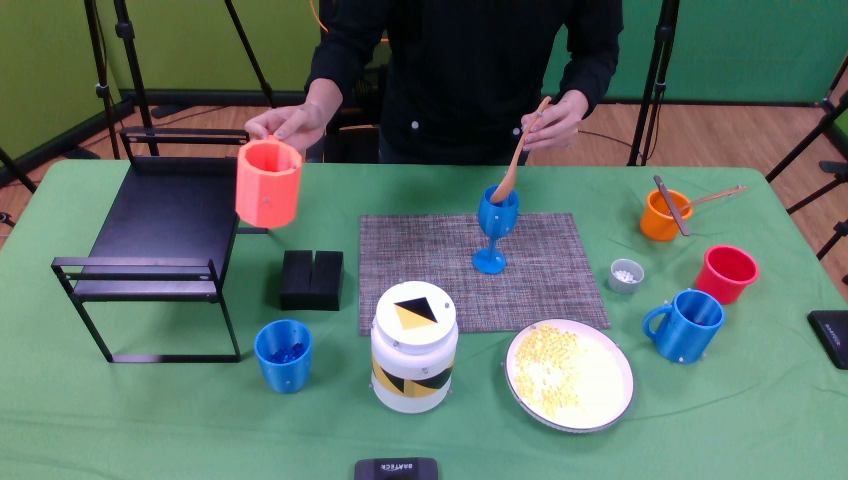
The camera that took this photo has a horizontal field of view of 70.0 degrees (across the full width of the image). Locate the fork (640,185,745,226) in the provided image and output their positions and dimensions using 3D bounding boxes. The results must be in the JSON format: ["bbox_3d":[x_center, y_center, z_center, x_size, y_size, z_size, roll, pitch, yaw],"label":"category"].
[{"bbox_3d":[0.534,-0.069,1.215,0.207,0.019,0.028,-26,27,33],"label":"fork"}]

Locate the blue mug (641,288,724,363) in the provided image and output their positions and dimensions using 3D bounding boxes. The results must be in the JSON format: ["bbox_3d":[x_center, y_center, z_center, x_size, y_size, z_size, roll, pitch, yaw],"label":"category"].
[{"bbox_3d":[0.432,0.144,1.033,0.116,0.106,0.082,8,46,5],"label":"blue mug"}]

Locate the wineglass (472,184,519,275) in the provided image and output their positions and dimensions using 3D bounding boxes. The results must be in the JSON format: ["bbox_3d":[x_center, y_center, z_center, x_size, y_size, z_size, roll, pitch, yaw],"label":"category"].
[{"bbox_3d":[0.129,-0.018,1.113,0.074,0.173,0.073,2,46,-2],"label":"wineglass"}]

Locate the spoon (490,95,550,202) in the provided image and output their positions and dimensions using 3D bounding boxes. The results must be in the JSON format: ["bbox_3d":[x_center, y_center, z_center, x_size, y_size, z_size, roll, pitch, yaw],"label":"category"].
[{"bbox_3d":[0.157,-0.147,0.991,0.021,0.194,0.042,33,19,36],"label":"spoon"}]

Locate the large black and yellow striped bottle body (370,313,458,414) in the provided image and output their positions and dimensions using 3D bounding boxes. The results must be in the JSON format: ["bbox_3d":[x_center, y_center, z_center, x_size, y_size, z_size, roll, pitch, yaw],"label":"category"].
[{"bbox_3d":[-0.017,0.165,0.924,0.131,0.185,0.130,2,46,-2],"label":"large black and yellow striped bottle body"}]

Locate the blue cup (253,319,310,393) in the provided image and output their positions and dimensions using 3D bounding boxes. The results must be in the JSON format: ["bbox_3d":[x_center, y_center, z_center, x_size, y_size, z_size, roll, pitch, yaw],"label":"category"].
[{"bbox_3d":[-0.217,0.187,0.943,0.093,0.101,0.092,4,45,-3],"label":"blue cup"}]

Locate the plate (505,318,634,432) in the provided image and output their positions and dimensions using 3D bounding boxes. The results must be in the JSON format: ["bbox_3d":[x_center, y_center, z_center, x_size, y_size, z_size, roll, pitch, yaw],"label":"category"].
[{"bbox_3d":[0.235,0.221,0.991,0.209,0.038,0.208,2,46,-2],"label":"plate"}]

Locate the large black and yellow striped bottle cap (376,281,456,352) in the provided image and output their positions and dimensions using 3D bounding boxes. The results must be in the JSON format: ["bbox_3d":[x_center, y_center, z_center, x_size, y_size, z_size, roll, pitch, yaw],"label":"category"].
[{"bbox_3d":[-0.011,0.107,0.863,0.115,0.019,0.114,2,47,-2],"label":"large black and yellow striped bottle cap"}]

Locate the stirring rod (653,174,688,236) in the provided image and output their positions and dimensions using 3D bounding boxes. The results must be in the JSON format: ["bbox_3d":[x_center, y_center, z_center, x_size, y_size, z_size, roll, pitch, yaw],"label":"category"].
[{"bbox_3d":[0.491,-0.072,1.211,0.014,0.006,0.175,0,47,-6],"label":"stirring rod"}]

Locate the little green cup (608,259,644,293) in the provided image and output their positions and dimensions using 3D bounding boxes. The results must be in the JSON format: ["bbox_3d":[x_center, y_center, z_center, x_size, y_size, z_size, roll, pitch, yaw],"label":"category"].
[{"bbox_3d":[0.379,0.070,1.147,0.061,0.039,0.061,3,45,-2],"label":"little green cup"}]

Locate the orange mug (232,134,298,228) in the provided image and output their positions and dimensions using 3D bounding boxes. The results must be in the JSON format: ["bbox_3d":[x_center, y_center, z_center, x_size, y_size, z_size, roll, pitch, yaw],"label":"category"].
[{"bbox_3d":[-0.231,-0.094,0.884,0.083,0.101,0.125,6,46,-14],"label":"orange mug"}]
